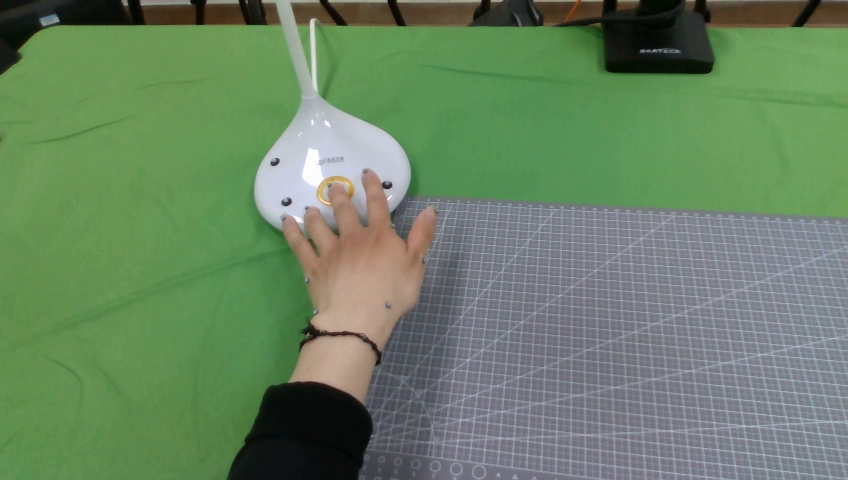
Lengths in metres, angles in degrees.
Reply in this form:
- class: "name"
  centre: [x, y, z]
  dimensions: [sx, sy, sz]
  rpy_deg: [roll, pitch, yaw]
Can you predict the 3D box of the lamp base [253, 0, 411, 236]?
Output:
- class: "lamp base"
  centre: [-0.105, -0.124, 0.565]
  dimensions: [0.161, 0.182, 0.177]
  rpy_deg: [-19, 48, -10]
